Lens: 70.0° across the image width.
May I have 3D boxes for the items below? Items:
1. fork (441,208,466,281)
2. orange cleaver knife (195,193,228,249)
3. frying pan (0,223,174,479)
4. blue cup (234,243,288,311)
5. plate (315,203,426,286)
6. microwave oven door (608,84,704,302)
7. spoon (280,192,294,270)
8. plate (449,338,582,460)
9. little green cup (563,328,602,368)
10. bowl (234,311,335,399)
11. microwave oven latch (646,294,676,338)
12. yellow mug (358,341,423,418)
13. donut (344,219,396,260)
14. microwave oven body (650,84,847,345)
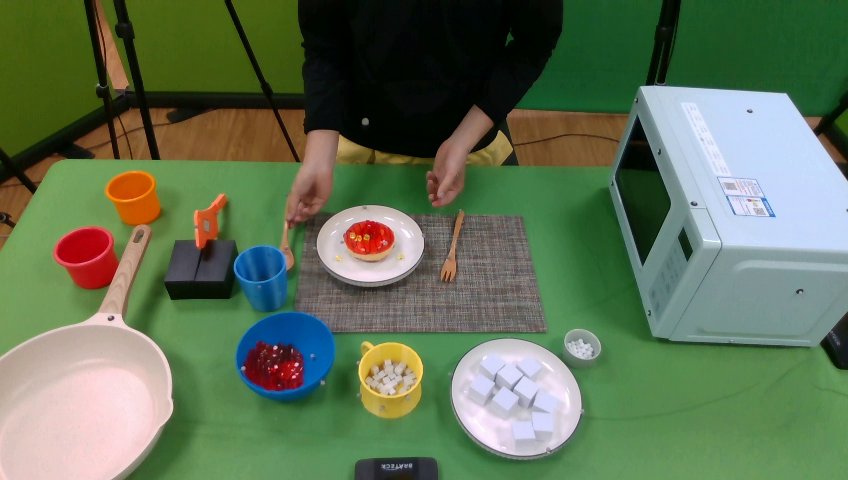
[{"bbox_3d":[0.061,0.005,1.190,0.028,0.019,0.206,4,47,12],"label":"fork"},{"bbox_3d":[-0.406,-0.041,1.163,0.012,0.077,0.210,0,18,-3],"label":"orange cleaver knife"},{"bbox_3d":[-0.505,0.169,0.941,0.307,0.103,0.485,5,54,-1],"label":"frying pan"},{"bbox_3d":[-0.276,0.072,1.052,0.093,0.101,0.092,1,48,-1],"label":"blue cup"},{"bbox_3d":[-0.101,0.012,1.159,0.209,0.038,0.208,2,46,-2],"label":"plate"},{"bbox_3d":[0.424,-0.096,1.138,0.039,0.245,0.353,3,46,-1],"label":"microwave oven door"},{"bbox_3d":[-0.266,-0.019,1.174,0.041,0.022,0.192,-10,59,12],"label":"spoon"},{"bbox_3d":[0.141,0.251,0.955,0.208,0.039,0.206,2,46,-2],"label":"plate"},{"bbox_3d":[0.265,0.184,1.025,0.061,0.039,0.061,1,46,-1],"label":"little green cup"},{"bbox_3d":[-0.214,0.194,0.956,0.151,0.077,0.150,2,46,-2],"label":"bowl"},{"bbox_3d":[0.412,0.133,1.060,0.030,0.029,0.078,3,46,0],"label":"microwave oven latch"},{"bbox_3d":[-0.063,0.210,0.960,0.100,0.064,0.130,-29,54,-28],"label":"yellow mug"},{"bbox_3d":[-0.102,-0.002,1.157,0.099,0.048,0.098,3,43,-2],"label":"donut"},{"bbox_3d":[0.569,-0.054,1.116,0.326,0.261,0.439,2,46,-1],"label":"microwave oven body"}]
